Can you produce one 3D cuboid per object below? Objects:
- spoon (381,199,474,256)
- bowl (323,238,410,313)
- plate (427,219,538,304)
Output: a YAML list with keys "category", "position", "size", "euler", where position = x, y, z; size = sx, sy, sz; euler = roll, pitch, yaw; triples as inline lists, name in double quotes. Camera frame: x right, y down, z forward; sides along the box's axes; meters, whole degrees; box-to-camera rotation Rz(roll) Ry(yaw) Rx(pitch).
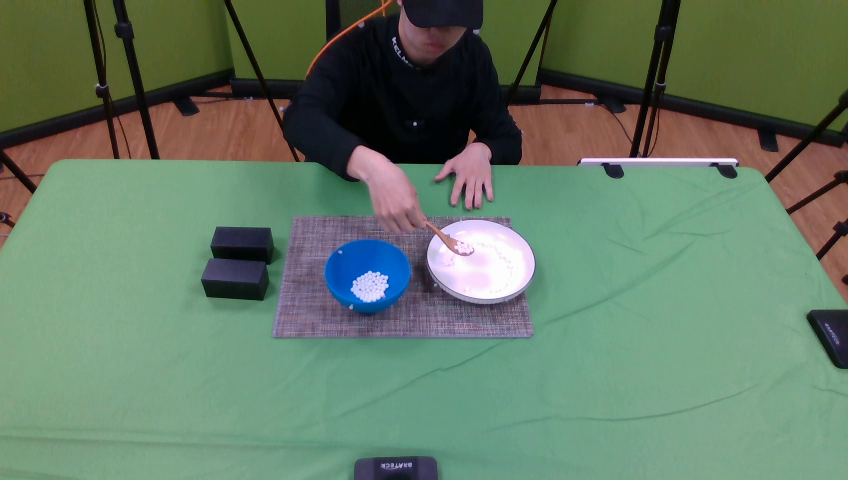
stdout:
- category: "spoon"
  position: [0.007, -0.025, 1.100]
  size: [0.194, 0.022, 0.041]
  euler: [34, 34, -8]
- category: "bowl"
  position: [-0.101, 0.077, 1.073]
  size: [0.151, 0.077, 0.150]
  euler: [2, 46, -2]
- category: "plate"
  position: [0.109, 0.044, 1.149]
  size: [0.208, 0.039, 0.206]
  euler: [2, 46, -2]
